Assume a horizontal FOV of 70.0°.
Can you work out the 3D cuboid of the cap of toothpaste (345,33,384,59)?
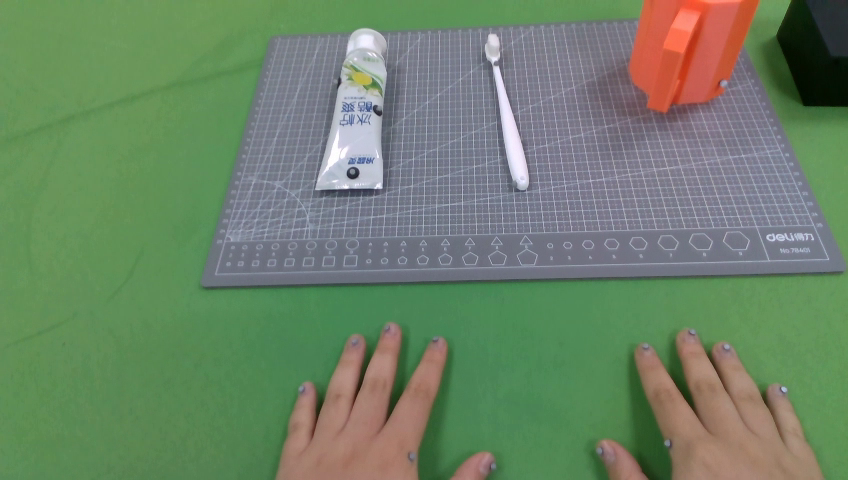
[{"bbox_3d":[-0.055,-0.175,0.559,0.037,0.037,0.011,2,60,6],"label":"cap of toothpaste"}]

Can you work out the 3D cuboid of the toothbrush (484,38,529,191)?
[{"bbox_3d":[0.070,-0.113,0.517,0.014,0.017,0.180,2,54,-10],"label":"toothbrush"}]

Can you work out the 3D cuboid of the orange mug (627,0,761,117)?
[{"bbox_3d":[0.213,-0.163,0.492,0.083,0.102,0.125,22,54,20],"label":"orange mug"}]

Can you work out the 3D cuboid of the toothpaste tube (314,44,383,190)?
[{"bbox_3d":[-0.059,-0.110,0.519,0.055,0.035,0.163,-4,57,8],"label":"toothpaste tube"}]
